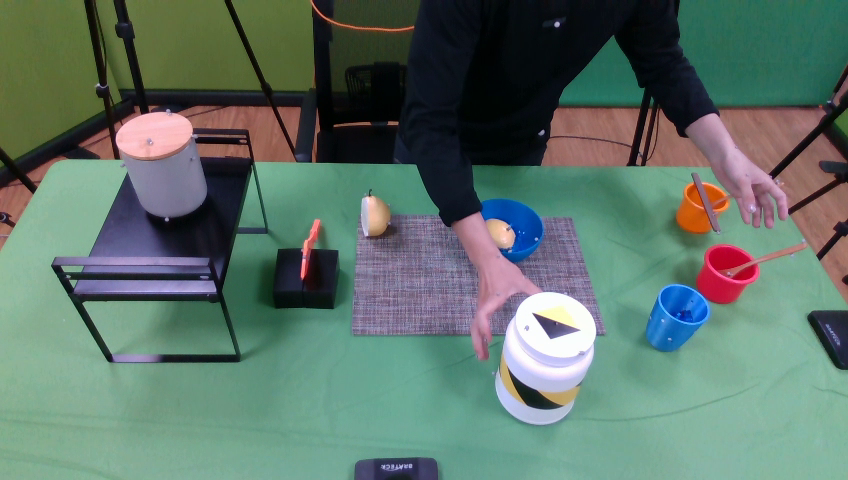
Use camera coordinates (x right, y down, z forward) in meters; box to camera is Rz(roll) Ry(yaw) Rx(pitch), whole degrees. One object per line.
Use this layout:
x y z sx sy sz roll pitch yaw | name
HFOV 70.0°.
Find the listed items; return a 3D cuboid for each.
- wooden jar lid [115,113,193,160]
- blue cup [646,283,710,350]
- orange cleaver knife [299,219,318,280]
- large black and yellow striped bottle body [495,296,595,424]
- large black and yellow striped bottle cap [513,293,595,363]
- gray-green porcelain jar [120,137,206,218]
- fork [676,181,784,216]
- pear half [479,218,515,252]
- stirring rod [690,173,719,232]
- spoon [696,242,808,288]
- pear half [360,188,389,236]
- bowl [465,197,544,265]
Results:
-0.399 -0.151 0.900 0.108 0.021 0.107 3 46 -3 | wooden jar lid
0.427 0.138 1.041 0.093 0.101 0.092 3 47 -3 | blue cup
-0.214 0.013 1.126 0.012 0.077 0.210 5 17 -5 | orange cleaver knife
0.183 0.182 0.923 0.131 0.185 0.130 2 46 -2 | large black and yellow striped bottle body
0.186 0.123 0.863 0.115 0.019 0.114 3 45 -3 | large black and yellow striped bottle cap
-0.403 -0.106 0.946 0.106 0.127 0.105 3 46 -2 | gray-green porcelain jar
0.618 -0.084 1.234 0.019 0.207 0.028 56 40 -15 | fork
0.145 -0.013 1.167 0.070 0.031 0.087 -21 56 -19 | pear half
0.566 -0.080 1.225 0.014 0.006 0.175 3 46 1 | stirring rod
0.601 0.045 1.116 0.194 0.022 0.041 -29 34 30 | spoon
-0.096 -0.060 1.181 0.056 0.110 0.076 -13 52 -17 | pear half
0.149 -0.004 1.167 0.151 0.077 0.150 2 46 -2 | bowl
